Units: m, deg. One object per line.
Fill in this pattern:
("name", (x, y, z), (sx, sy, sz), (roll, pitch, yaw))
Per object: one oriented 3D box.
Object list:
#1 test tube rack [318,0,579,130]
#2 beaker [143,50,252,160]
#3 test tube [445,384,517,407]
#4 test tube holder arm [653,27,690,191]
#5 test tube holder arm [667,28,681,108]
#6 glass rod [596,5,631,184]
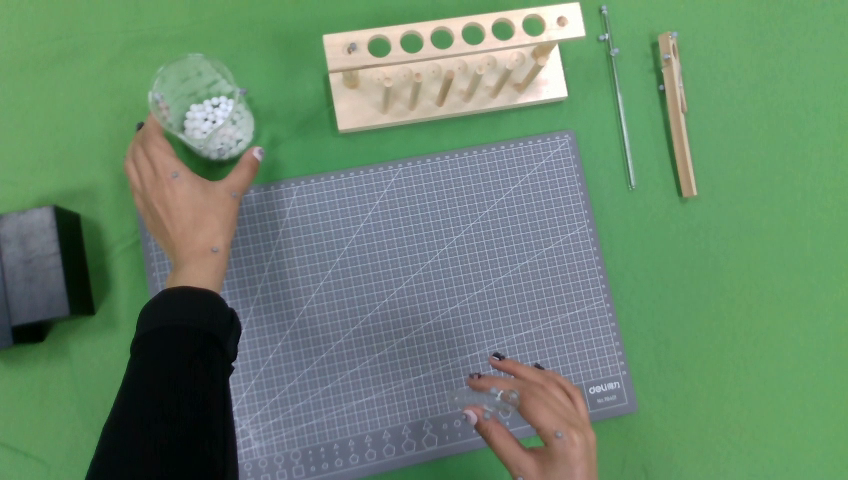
("test tube rack", (0.025, -0.170, 0.597), (0.243, 0.085, 0.066), (-10, 85, -7))
("beaker", (-0.203, -0.116, 0.562), (0.074, 0.100, 0.084), (-8, 85, -6))
("test tube", (0.041, 0.123, 0.484), (0.017, 0.150, 0.017), (3, 76, -12))
("test tube holder arm", (0.264, -0.140, 0.648), (0.013, 0.015, 0.178), (-1, 83, -35))
("test tube holder arm", (0.265, -0.185, 0.655), (0.010, 0.015, 0.087), (-1, 83, -35))
("glass rod", (0.203, -0.157, 0.652), (0.008, 0.008, 0.199), (-7, 85, -7))
